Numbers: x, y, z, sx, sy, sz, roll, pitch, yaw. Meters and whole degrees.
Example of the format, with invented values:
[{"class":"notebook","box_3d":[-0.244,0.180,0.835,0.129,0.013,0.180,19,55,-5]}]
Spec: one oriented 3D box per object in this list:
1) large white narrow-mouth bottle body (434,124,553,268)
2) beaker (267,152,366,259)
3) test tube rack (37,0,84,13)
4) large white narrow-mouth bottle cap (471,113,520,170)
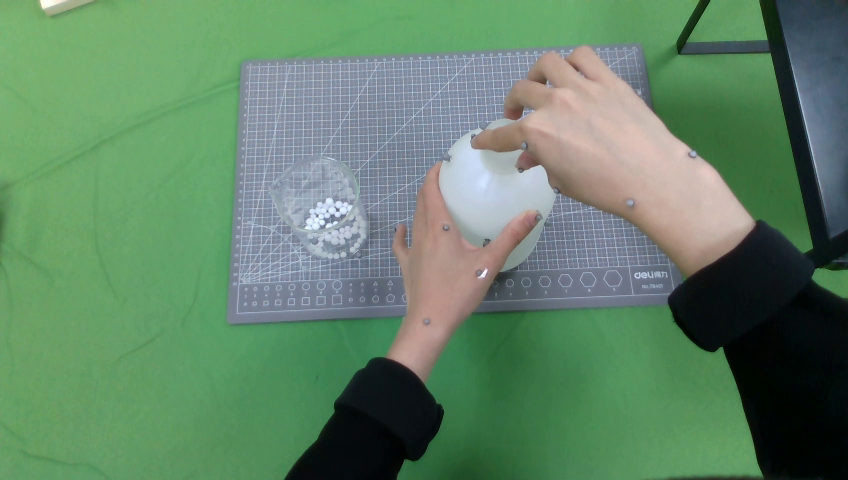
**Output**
[{"class":"large white narrow-mouth bottle body","box_3d":[0.060,-0.045,0.530,0.102,0.196,0.101,-1,73,4]},{"class":"beaker","box_3d":[-0.097,-0.028,0.575,0.084,0.101,0.073,8,72,4]},{"class":"test tube rack","box_3d":[-0.346,-0.352,0.690,0.242,0.085,0.066,-23,73,-6]},{"class":"large white narrow-mouth bottle cap","box_3d":[0.053,-0.072,0.446,0.038,0.024,0.037,-1,73,3]}]
